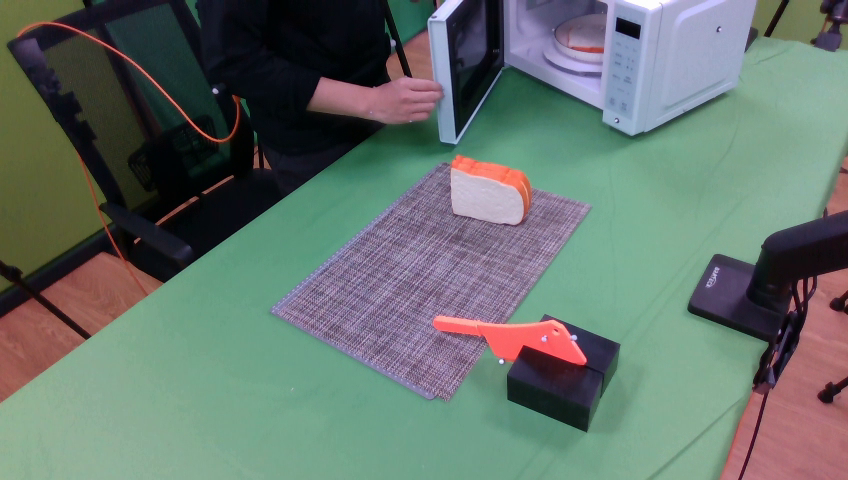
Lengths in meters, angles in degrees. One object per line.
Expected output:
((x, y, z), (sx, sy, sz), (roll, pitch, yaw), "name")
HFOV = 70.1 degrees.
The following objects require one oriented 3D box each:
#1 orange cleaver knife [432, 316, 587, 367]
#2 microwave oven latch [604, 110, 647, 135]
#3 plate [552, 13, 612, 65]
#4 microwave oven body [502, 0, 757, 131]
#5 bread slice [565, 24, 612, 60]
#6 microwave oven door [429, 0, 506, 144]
((0.101, 0.127, 0.761), (0.210, 0.077, 0.012), (-1, 34, 40), "orange cleaver knife")
((0.378, -0.225, 1.139), (0.030, 0.029, 0.078), (-26, 43, -20), "microwave oven latch")
((0.382, -0.429, 1.306), (0.207, 0.039, 0.206), (-5, 42, 5), "plate")
((0.396, -0.448, 1.248), (0.327, 0.261, 0.437), (-27, 44, -21), "microwave oven body")
((0.361, -0.431, 1.318), (0.107, 0.018, 0.134), (3, 48, 9), "bread slice")
((0.098, -0.391, 1.216), (0.039, 0.245, 0.355), (10, 43, 19), "microwave oven door")
